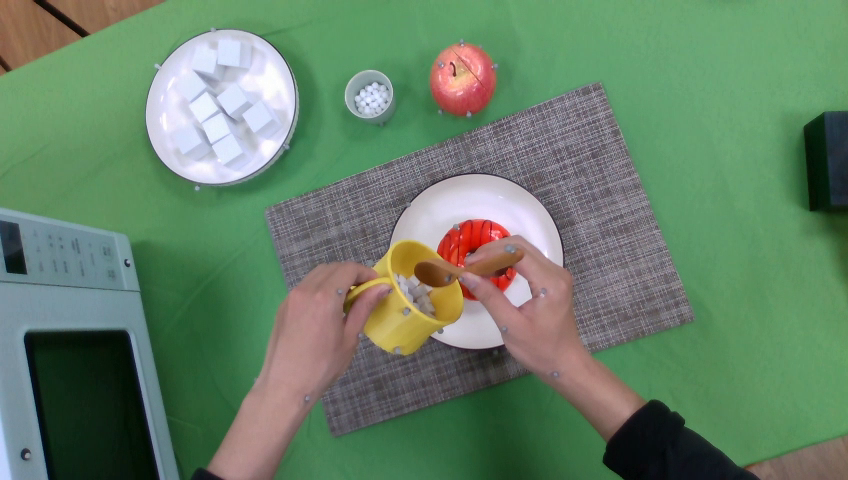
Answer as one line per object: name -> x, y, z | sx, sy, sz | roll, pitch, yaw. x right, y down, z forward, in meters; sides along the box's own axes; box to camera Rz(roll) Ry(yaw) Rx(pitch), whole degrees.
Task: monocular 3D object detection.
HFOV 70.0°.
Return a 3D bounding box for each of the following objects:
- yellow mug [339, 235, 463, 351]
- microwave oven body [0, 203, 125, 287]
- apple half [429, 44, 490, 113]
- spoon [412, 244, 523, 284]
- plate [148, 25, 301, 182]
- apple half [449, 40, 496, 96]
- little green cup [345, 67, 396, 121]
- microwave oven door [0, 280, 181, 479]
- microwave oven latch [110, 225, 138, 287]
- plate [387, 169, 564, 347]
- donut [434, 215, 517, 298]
yellow mug -> -0.028, 0.053, 0.599 | 0.064, 0.132, 0.099 | -41, 62, 32
microwave oven body -> -0.503, 0.221, 0.674 | 0.326, 0.261, 0.440 | -17, 82, 7
apple half -> 0.036, -0.185, 0.727 | 0.053, 0.075, 0.080 | -40, 82, 8
spoon -> 0.035, 0.023, 0.531 | 0.042, 0.193, 0.021 | 35, 74, -14
plate -> -0.256, -0.175, 0.792 | 0.207, 0.039, 0.207 | -1, 84, 9
apple half -> 0.065, -0.210, 0.724 | 0.033, 0.081, 0.081 | -41, 79, 7
little green cup -> -0.065, -0.180, 0.761 | 0.061, 0.039, 0.061 | -1, 83, 10
microwave oven door -> -0.354, 0.219, 0.644 | 0.039, 0.245, 0.354 | -17, 81, 7
microwave oven latch -> -0.392, 0.022, 0.775 | 0.030, 0.029, 0.079 | -15, 82, 7
plate -> 0.059, 0.021, 0.715 | 0.209, 0.038, 0.208 | -1, 84, 9
donut -> 0.059, 0.019, 0.704 | 0.099, 0.048, 0.099 | -1, 86, 10
